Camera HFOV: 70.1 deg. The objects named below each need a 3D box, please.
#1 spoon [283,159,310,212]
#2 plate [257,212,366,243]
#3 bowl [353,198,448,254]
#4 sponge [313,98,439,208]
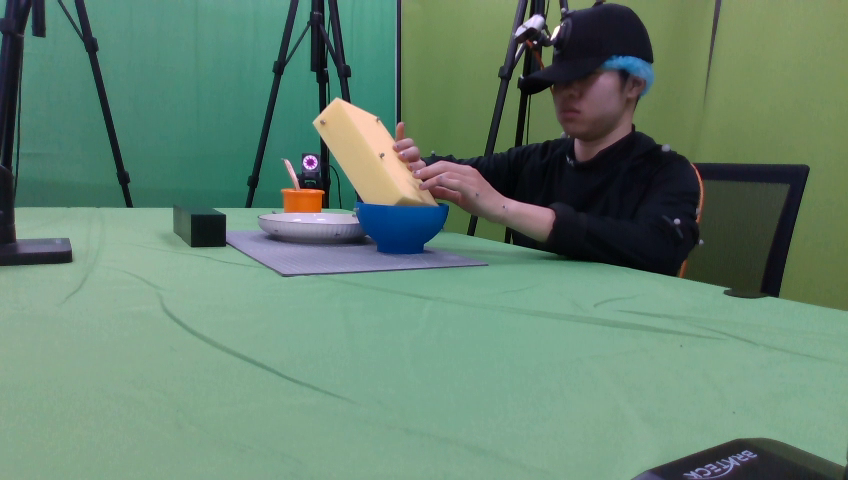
[{"bbox_3d":[-0.279,-0.111,1.324,0.042,0.193,0.021,3,-39,-35],"label":"spoon"},{"bbox_3d":[-0.189,-0.023,1.072,0.209,0.038,0.209,3,7,0],"label":"plate"},{"bbox_3d":[-0.038,-0.022,0.954,0.151,0.077,0.151,3,10,0],"label":"bowl"},{"bbox_3d":[-0.076,-0.120,0.969,0.061,0.206,0.119,-41,-21,19],"label":"sponge"}]
